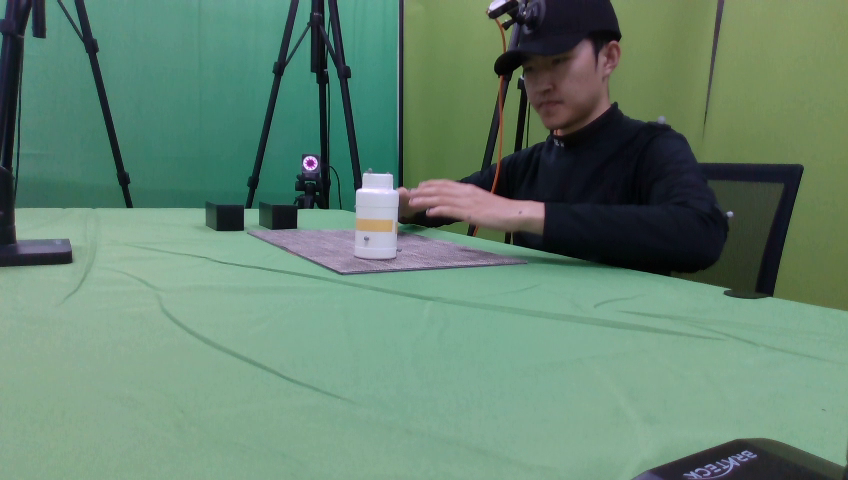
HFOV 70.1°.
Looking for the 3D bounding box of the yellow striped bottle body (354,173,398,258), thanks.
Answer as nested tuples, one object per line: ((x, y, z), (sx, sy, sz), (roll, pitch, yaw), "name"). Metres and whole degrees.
((-0.069, -0.037, 0.873), (0.063, 0.120, 0.063), (2, 7, 0), "yellow striped bottle body")

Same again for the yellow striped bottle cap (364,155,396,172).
((-0.063, -0.109, 0.859), (0.044, 0.018, 0.044), (10, 6, -1), "yellow striped bottle cap")
